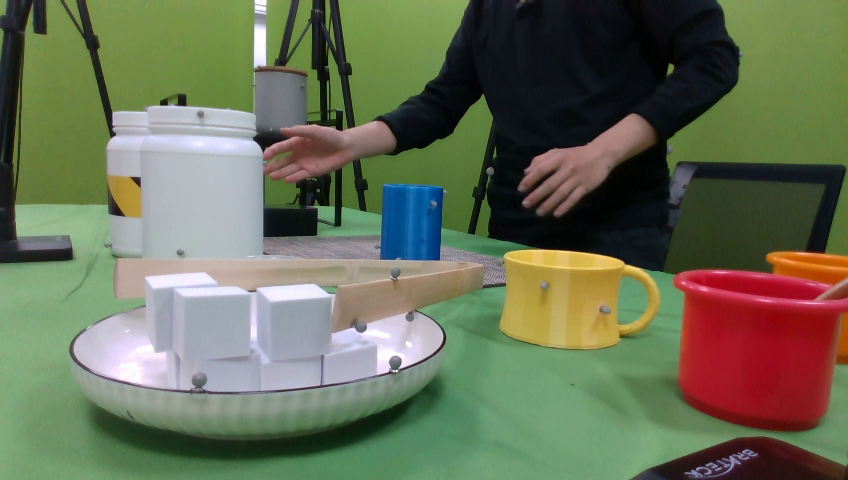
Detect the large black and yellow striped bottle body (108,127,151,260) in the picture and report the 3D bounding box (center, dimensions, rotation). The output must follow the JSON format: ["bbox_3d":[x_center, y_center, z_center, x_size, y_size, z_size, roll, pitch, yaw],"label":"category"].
[{"bbox_3d":[-0.350,-0.071,0.812,0.131,0.184,0.130,2,7,0],"label":"large black and yellow striped bottle body"}]

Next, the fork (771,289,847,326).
[{"bbox_3d":[0.335,0.018,0.443,0.028,0.018,0.207,-2,-36,-20],"label":"fork"}]

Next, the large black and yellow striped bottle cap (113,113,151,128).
[{"bbox_3d":[-0.348,-0.154,0.800,0.115,0.019,0.115,2,6,0],"label":"large black and yellow striped bottle cap"}]

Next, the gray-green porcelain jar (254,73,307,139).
[{"bbox_3d":[-0.298,-0.277,1.259,0.106,0.126,0.106,3,7,0],"label":"gray-green porcelain jar"}]

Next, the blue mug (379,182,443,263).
[{"bbox_3d":[-0.020,-0.026,0.833,0.082,0.106,0.116,1,7,-7],"label":"blue mug"}]

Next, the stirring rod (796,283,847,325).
[{"bbox_3d":[0.347,0.019,0.460,0.014,0.176,0.006,-17,59,-26],"label":"stirring rod"}]

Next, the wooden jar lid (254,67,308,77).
[{"bbox_3d":[-0.296,-0.339,1.251,0.108,0.020,0.108,2,7,0],"label":"wooden jar lid"}]

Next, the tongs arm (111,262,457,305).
[{"bbox_3d":[-0.080,0.033,0.527,0.028,0.027,0.389,-4,-4,33],"label":"tongs arm"}]

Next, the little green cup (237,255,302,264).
[{"bbox_3d":[-0.150,0.038,0.590,0.061,0.038,0.061,3,6,0],"label":"little green cup"}]

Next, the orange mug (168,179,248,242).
[{"bbox_3d":[-0.351,-0.050,0.986,0.126,0.101,0.083,-3,8,-9],"label":"orange mug"}]

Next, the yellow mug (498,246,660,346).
[{"bbox_3d":[0.130,0.045,0.508,0.131,0.064,0.100,4,7,6],"label":"yellow mug"}]

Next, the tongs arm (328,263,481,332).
[{"bbox_3d":[-0.003,0.036,0.492,0.050,0.026,0.386,1,-1,19],"label":"tongs arm"}]

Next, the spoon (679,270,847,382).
[{"bbox_3d":[0.229,0.031,0.338,0.193,0.021,0.042,-44,-17,27],"label":"spoon"}]

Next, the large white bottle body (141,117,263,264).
[{"bbox_3d":[-0.254,-0.054,0.697,0.131,0.184,0.130,2,7,0],"label":"large white bottle body"}]

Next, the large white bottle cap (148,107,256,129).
[{"bbox_3d":[-0.250,-0.137,0.686,0.115,0.018,0.115,2,8,0],"label":"large white bottle cap"}]

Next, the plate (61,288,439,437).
[{"bbox_3d":[-0.095,0.069,0.362,0.208,0.039,0.207,3,7,0],"label":"plate"}]
